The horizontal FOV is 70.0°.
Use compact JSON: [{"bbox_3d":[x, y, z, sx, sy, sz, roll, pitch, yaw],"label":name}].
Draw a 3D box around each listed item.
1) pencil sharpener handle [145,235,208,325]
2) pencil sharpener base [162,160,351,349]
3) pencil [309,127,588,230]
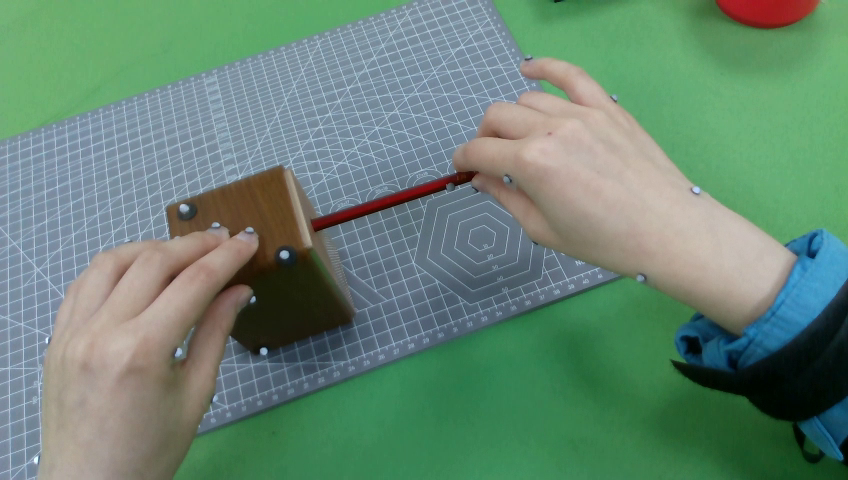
[{"bbox_3d":[-0.144,0.028,0.346,0.030,0.068,0.035,-20,56,-3],"label":"pencil sharpener handle"},{"bbox_3d":[-0.096,0.014,0.360,0.077,0.108,0.061,-20,62,-3],"label":"pencil sharpener base"},{"bbox_3d":[0.003,-0.031,0.346,0.194,0.012,0.012,-19,62,-4],"label":"pencil"}]
